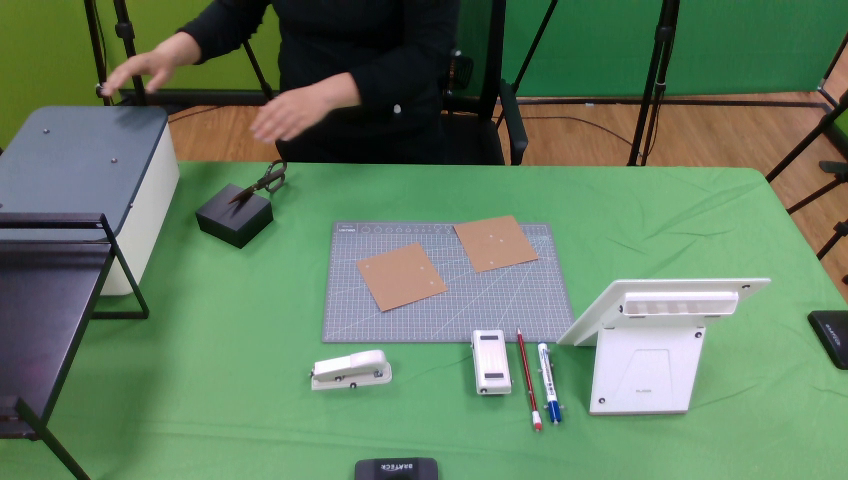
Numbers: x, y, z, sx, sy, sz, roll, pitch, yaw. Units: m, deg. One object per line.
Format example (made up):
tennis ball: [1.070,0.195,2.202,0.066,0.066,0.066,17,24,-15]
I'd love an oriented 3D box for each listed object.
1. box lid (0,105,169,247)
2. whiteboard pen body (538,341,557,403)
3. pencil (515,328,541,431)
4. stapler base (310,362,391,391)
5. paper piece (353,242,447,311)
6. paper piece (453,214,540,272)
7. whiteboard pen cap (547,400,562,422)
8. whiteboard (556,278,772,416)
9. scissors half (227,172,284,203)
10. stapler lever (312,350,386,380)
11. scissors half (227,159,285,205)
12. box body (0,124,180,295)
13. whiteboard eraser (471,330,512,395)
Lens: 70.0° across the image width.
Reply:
box lid: [-0.624,-0.125,1.067,0.263,0.015,0.369,0,46,-3]
whiteboard pen body: [0.205,0.228,0.997,0.017,0.017,0.140,1,46,-3]
pencil: [0.169,0.224,1.003,0.012,0.012,0.192,-1,46,-6]
stapler base: [-0.119,0.215,0.980,0.131,0.024,0.041,-5,44,-7]
paper piece: [-0.045,0.066,1.137,0.136,0.009,0.137,-14,47,-22]
paper piece: [0.142,0.002,1.213,0.135,0.004,0.135,-11,47,-14]
whiteboard pen cap: [0.205,0.269,0.956,0.018,0.018,0.033,0,47,-5]
whiteboard: [0.347,0.174,0.903,0.217,0.306,0.143,1,65,-4]
scissors half: [-0.339,-0.101,1.230,0.013,0.040,0.175,21,28,17]
stapler lever: [-0.120,0.198,0.963,0.118,0.040,0.026,-4,44,-8]
scissors half: [-0.336,-0.117,1.218,0.013,0.040,0.175,25,46,14]
box body: [-0.628,-0.075,1.122,0.254,0.161,0.361,1,46,-4]
whiteboard eraser: [0.110,0.202,0.998,0.055,0.042,0.112,1,46,-5]
